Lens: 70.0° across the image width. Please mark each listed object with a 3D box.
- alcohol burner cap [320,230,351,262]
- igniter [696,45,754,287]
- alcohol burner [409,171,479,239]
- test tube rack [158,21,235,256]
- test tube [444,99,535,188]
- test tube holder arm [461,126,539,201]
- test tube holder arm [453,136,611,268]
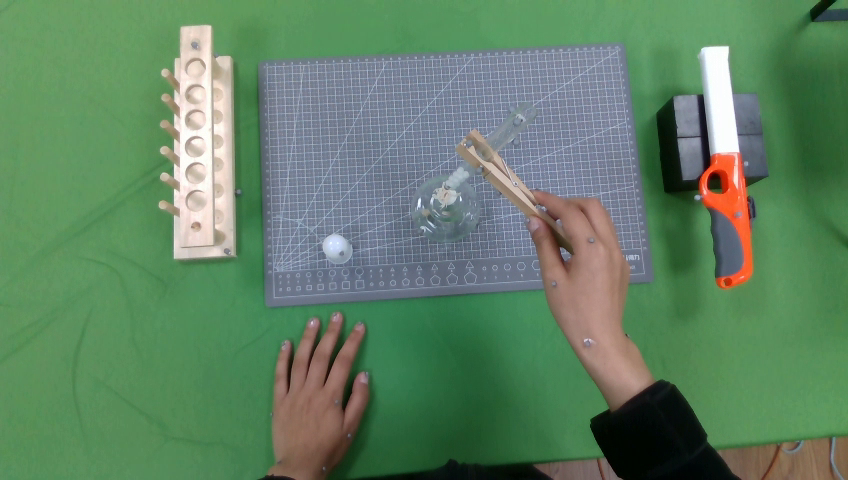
[{"bbox_3d":[-0.101,0.005,0.682,0.034,0.048,0.033,0,80,-2],"label":"alcohol burner cap"},{"bbox_3d":[0.331,-0.085,0.675,0.057,0.025,0.275,-1,80,4],"label":"igniter"},{"bbox_3d":[0.022,-0.041,0.657,0.078,0.119,0.077,0,82,-1],"label":"alcohol burner"},{"bbox_3d":[-0.257,-0.109,0.675,0.067,0.085,0.241,-3,81,-2],"label":"test tube rack"},{"bbox_3d":[0.051,-0.078,0.521,0.017,0.150,0.017,7,70,-20],"label":"test tube"},{"bbox_3d":[0.067,-0.064,0.532,0.088,0.015,0.010,46,57,-6],"label":"test tube holder arm"},{"bbox_3d":[0.098,-0.031,0.536,0.179,0.015,0.013,39,58,-10],"label":"test tube holder arm"}]
